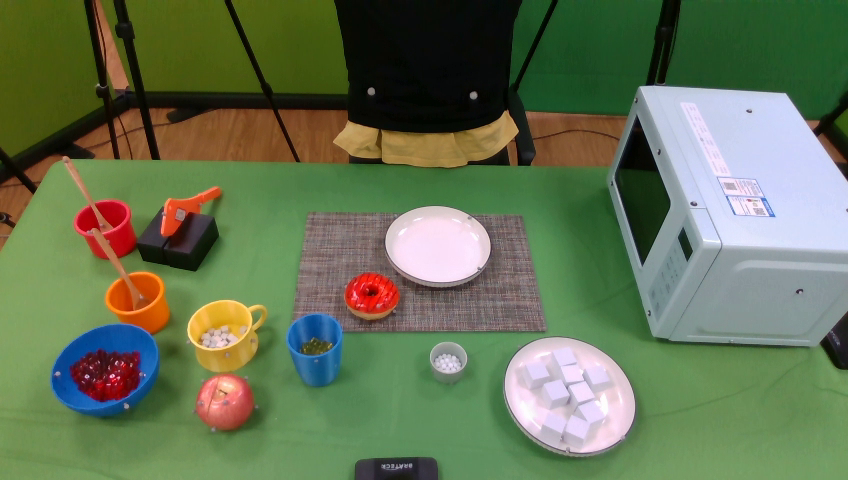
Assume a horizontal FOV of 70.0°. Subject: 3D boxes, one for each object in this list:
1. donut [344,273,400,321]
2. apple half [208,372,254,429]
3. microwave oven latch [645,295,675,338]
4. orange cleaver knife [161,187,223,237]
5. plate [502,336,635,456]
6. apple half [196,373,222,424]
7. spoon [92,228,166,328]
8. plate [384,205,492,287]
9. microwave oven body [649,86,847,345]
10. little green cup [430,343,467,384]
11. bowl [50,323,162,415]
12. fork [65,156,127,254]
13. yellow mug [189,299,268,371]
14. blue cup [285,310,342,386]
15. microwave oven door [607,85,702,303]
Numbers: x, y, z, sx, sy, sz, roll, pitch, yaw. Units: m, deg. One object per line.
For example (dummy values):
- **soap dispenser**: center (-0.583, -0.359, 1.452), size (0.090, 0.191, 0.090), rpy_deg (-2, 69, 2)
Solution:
- **donut**: center (-0.092, 0.099, 1.075), size (0.099, 0.048, 0.098), rpy_deg (3, 44, -2)
- **apple half**: center (-0.283, 0.244, 0.908), size (0.053, 0.075, 0.080), rpy_deg (7, 42, -1)
- **microwave oven latch**: center (0.412, 0.134, 1.061), size (0.030, 0.029, 0.078), rpy_deg (3, 45, 0)
- **orange cleaver knife**: center (-0.449, -0.059, 1.180), size (0.012, 0.077, 0.211), rpy_deg (14, 17, 6)
- **plate**: center (0.225, 0.248, 0.963), size (0.208, 0.039, 0.206), rpy_deg (2, 46, -2)
- **apple half**: center (-0.322, 0.239, 0.907), size (0.033, 0.081, 0.081), rpy_deg (7, 46, -1)
- **spoon**: center (-0.495, 0.063, 1.014), size (0.041, 0.194, 0.021), rpy_deg (-34, 12, -31)
- **plate**: center (0.027, 0.015, 1.169), size (0.209, 0.038, 0.208), rpy_deg (2, 46, -2)
- **microwave oven body**: center (0.568, -0.053, 1.118), size (0.326, 0.261, 0.439), rpy_deg (2, 45, -1)
- **little green cup**: center (0.039, 0.203, 0.994), size (0.061, 0.039, 0.061), rpy_deg (2, 46, -2)
- **bowl**: center (-0.472, 0.209, 0.924), size (0.151, 0.077, 0.150), rpy_deg (2, 45, -2)
- **fork**: center (-0.614, -0.064, 1.130), size (0.028, 0.018, 0.207), rpy_deg (-29, 97, -14)
- **yellow mug**: center (-0.316, 0.148, 1.002), size (0.131, 0.064, 0.099), rpy_deg (-32, 56, -32)
- **blue cup**: center (-0.170, 0.179, 0.958), size (0.093, 0.101, 0.092), rpy_deg (1, 44, -1)
- **microwave oven door**: center (0.423, -0.094, 1.140), size (0.039, 0.245, 0.353), rpy_deg (2, 46, -1)
